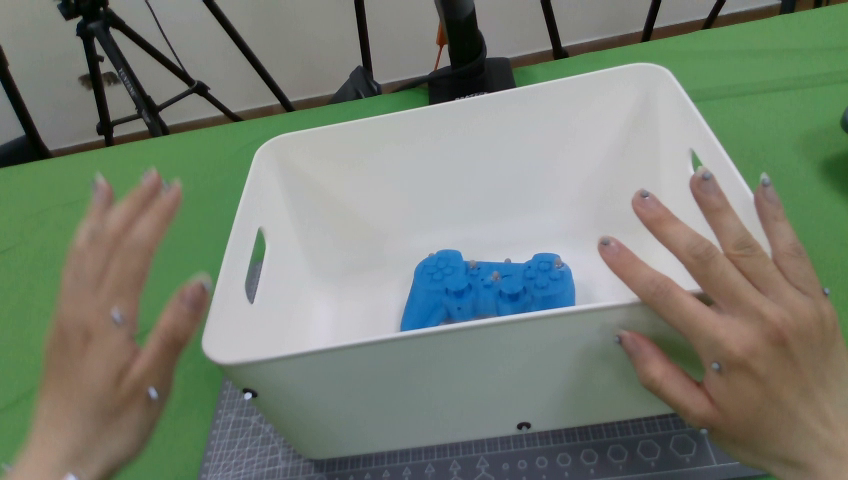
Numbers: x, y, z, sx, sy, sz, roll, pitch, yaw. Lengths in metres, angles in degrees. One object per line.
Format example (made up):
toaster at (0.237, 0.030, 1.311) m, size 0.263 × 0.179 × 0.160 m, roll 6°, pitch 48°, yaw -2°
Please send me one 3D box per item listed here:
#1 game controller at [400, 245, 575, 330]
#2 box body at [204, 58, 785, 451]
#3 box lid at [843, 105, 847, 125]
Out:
game controller at (0.058, 0.044, 0.539) m, size 0.154 × 0.052 × 0.096 m, roll 3°, pitch 42°, yaw 18°
box body at (0.046, 0.013, 0.498) m, size 0.364 × 0.162 × 0.251 m, roll -10°, pitch 44°, yaw 7°
box lid at (0.561, -0.051, 0.467) m, size 0.263 × 0.015 × 0.367 m, roll -18°, pitch 44°, yaw -2°
